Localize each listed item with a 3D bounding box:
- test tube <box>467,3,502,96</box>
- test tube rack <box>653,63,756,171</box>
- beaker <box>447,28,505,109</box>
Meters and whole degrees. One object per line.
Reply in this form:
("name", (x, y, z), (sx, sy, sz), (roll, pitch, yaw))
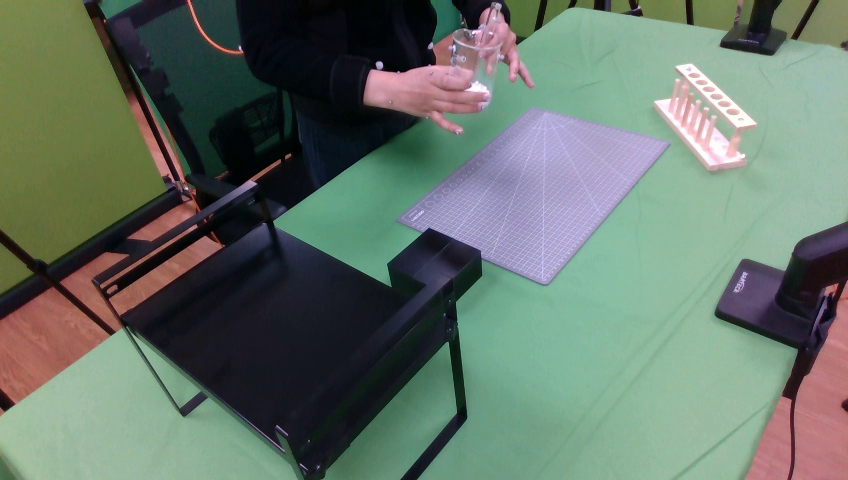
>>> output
("test tube", (0.093, -0.296, 0.950), (0.017, 0.150, 0.017), (11, 36, -7))
("test tube rack", (0.510, -0.233, 1.120), (0.067, 0.085, 0.241), (-9, 41, -1))
("beaker", (0.073, -0.256, 0.906), (0.074, 0.100, 0.083), (-2, 41, -12))
